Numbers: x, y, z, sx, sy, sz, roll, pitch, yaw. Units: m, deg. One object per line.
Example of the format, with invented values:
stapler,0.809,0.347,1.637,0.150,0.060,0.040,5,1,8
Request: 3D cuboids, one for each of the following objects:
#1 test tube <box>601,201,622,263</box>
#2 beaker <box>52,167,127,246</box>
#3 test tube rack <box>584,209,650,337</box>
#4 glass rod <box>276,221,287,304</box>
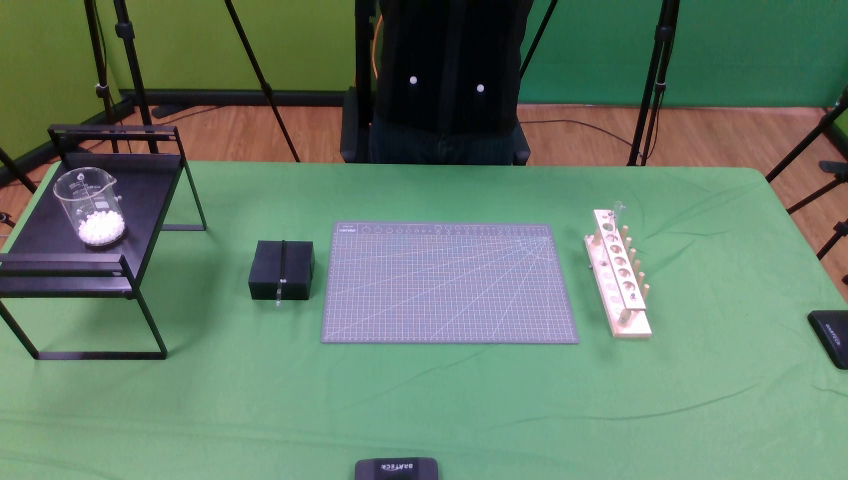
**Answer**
test tube,0.346,-0.012,1.123,0.017,0.151,0.017,-2,44,2
beaker,-0.490,-0.048,0.902,0.084,0.101,0.073,-15,49,-18
test tube rack,0.365,0.056,1.129,0.067,0.085,0.240,1,46,-4
glass rod,-0.255,0.036,1.086,0.008,0.008,0.198,-2,46,-6
